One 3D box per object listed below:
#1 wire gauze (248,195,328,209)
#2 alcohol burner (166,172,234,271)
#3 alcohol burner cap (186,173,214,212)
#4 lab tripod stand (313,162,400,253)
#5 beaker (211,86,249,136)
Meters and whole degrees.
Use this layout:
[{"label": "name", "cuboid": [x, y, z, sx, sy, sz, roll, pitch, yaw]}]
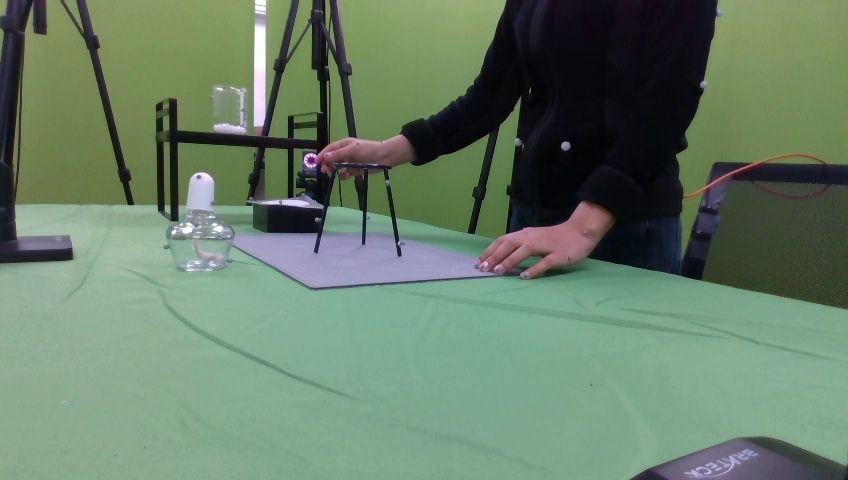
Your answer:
[{"label": "wire gauze", "cuboid": [-0.259, -0.071, 1.138, 0.126, 0.011, 0.121, -3, 12, -28]}, {"label": "alcohol burner", "cuboid": [-0.271, -0.023, 0.735, 0.078, 0.119, 0.078, 2, 5, 0]}, {"label": "alcohol burner cap", "cuboid": [-0.268, -0.057, 0.730, 0.034, 0.048, 0.034, 5, 2, 0]}, {"label": "lab tripod stand", "cuboid": [-0.097, -0.051, 0.906, 0.148, 0.131, 0.148, 1, 6, 0]}, {"label": "beaker", "cuboid": [-0.413, -0.274, 1.297, 0.074, 0.100, 0.083, -5, 11, -44]}]
